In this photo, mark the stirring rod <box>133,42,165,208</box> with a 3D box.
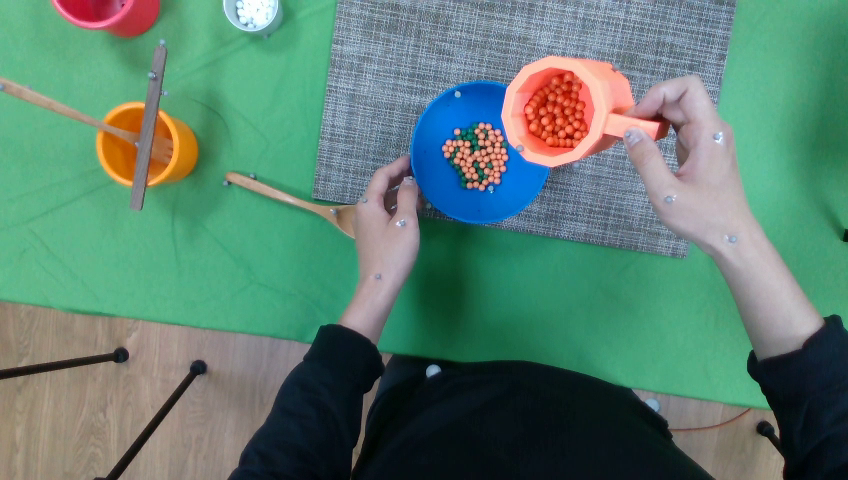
[{"bbox_3d":[-0.292,-0.121,0.644,0.014,0.006,0.176,10,96,2],"label":"stirring rod"}]

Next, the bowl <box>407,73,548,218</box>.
[{"bbox_3d":[0.058,-0.101,0.674,0.151,0.076,0.151,0,97,2],"label":"bowl"}]

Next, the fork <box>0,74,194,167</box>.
[{"bbox_3d":[-0.346,-0.126,0.647,0.209,0.018,0.028,23,101,-44],"label":"fork"}]

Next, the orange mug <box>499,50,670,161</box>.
[{"bbox_3d":[0.138,-0.111,0.511,0.125,0.101,0.084,21,114,30],"label":"orange mug"}]

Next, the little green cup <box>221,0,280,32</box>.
[{"bbox_3d":[-0.193,-0.266,0.684,0.061,0.038,0.061,0,96,2],"label":"little green cup"}]

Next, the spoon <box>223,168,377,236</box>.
[{"bbox_3d":[-0.146,-0.051,0.714,0.194,0.021,0.042,19,111,-1],"label":"spoon"}]
